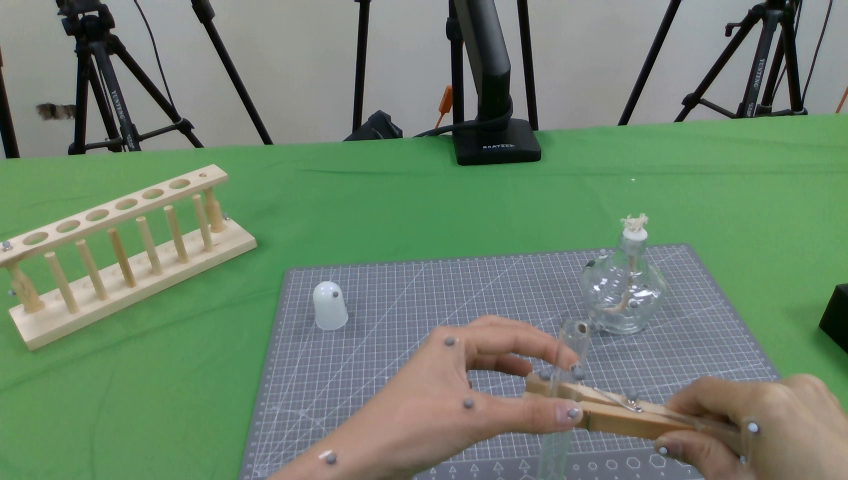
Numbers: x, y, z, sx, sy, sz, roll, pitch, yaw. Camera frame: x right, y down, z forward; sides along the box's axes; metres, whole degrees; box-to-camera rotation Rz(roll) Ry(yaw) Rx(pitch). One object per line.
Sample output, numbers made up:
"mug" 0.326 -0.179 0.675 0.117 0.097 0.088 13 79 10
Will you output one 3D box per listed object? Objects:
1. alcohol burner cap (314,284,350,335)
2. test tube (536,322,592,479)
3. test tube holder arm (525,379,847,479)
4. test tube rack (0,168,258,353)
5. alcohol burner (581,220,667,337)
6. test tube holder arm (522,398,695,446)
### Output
"alcohol burner cap" -0.090 0.064 0.585 0.034 0.048 0.033 -1 36 1
"test tube" 0.076 0.110 0.343 0.017 0.151 0.017 1 30 0
"test tube holder arm" 0.141 0.099 0.316 0.177 0.015 0.013 8 38 17
"test tube rack" -0.306 0.013 0.637 0.242 0.086 0.066 -28 42 -32
"alcohol burner" 0.185 0.030 0.554 0.078 0.120 0.077 -1 37 1
"test tube holder arm" 0.097 0.097 0.323 0.087 0.015 0.010 4 37 11
